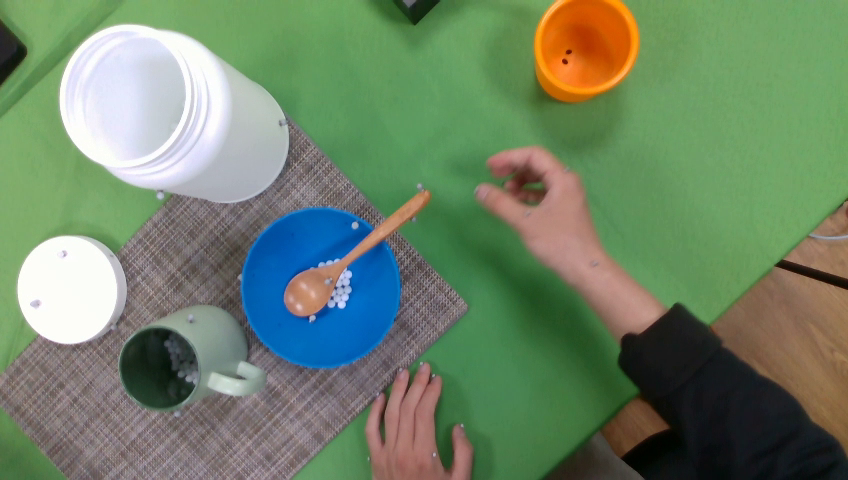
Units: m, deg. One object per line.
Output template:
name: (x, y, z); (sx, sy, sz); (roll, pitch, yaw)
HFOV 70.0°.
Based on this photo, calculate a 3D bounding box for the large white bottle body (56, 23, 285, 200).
large white bottle body: (-0.216, -0.107, 0.542); (0.130, 0.185, 0.130); (0, 89, 7)

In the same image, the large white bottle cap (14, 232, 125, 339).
large white bottle cap: (-0.377, 0.048, 0.644); (0.115, 0.018, 0.115); (0, 92, 4)

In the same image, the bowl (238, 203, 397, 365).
bowl: (-0.096, 0.039, 0.594); (0.151, 0.077, 0.151); (0, 93, 4)

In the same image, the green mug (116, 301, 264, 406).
green mug: (-0.219, 0.116, 0.593); (0.125, 0.105, 0.092); (20, 93, 3)

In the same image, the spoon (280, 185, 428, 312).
spoon: (-0.067, 0.010, 0.563); (0.194, 0.021, 0.041); (-37, 92, 28)
